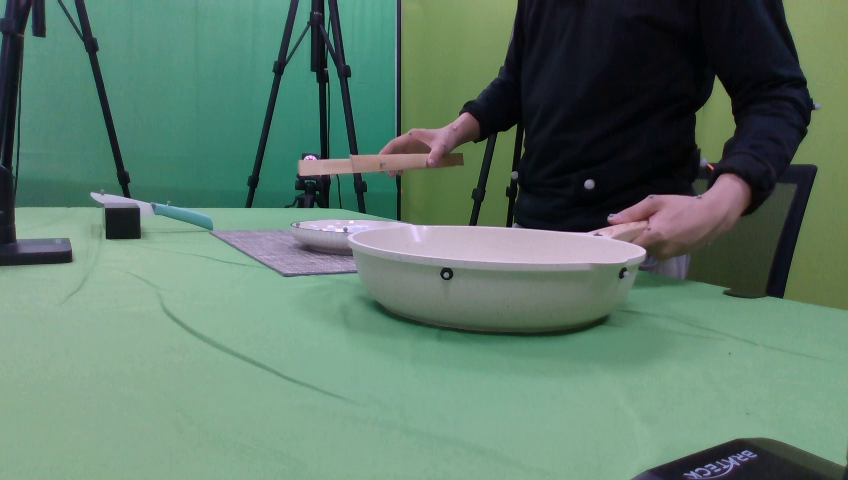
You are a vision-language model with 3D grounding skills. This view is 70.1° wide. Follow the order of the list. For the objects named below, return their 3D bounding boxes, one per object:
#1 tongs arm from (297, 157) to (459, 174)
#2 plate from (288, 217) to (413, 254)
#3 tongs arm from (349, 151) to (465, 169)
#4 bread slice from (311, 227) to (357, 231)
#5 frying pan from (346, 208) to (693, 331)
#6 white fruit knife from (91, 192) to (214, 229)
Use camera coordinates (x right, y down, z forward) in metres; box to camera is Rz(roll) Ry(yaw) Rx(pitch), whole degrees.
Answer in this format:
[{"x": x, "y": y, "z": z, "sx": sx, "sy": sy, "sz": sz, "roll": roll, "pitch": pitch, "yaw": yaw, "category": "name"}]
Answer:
[{"x": -0.065, "y": -0.141, "z": 1.098, "sx": 0.050, "sy": 0.026, "sz": 0.387, "roll": -3, "pitch": 6, "yaw": 38, "category": "tongs arm"}, {"x": -0.109, "y": -0.007, "z": 0.956, "sx": 0.208, "sy": 0.039, "sz": 0.207, "roll": 2, "pitch": 7, "yaw": 0, "category": "plate"}, {"x": -0.014, "y": -0.142, "z": 1.061, "sx": 0.028, "sy": 0.028, "sz": 0.389, "roll": -7, "pitch": 4, "yaw": 31, "category": "tongs arm"}, {"x": -0.115, "y": -0.005, "z": 0.950, "sx": 0.134, "sy": 0.018, "sz": 0.107, "roll": 3, "pitch": 6, "yaw": -7, "category": "bread slice"}, {"x": 0.153, "y": 0.008, "z": 0.669, "sx": 0.490, "sy": 0.102, "sz": 0.305, "roll": -13, "pitch": 15, "yaw": -33, "category": "frying pan"}, {"x": -0.478, "y": -0.055, "z": 1.078, "sx": 0.208, "sy": 0.027, "sz": 0.016, "roll": 14, "pitch": 1, "yaw": -30, "category": "white fruit knife"}]
